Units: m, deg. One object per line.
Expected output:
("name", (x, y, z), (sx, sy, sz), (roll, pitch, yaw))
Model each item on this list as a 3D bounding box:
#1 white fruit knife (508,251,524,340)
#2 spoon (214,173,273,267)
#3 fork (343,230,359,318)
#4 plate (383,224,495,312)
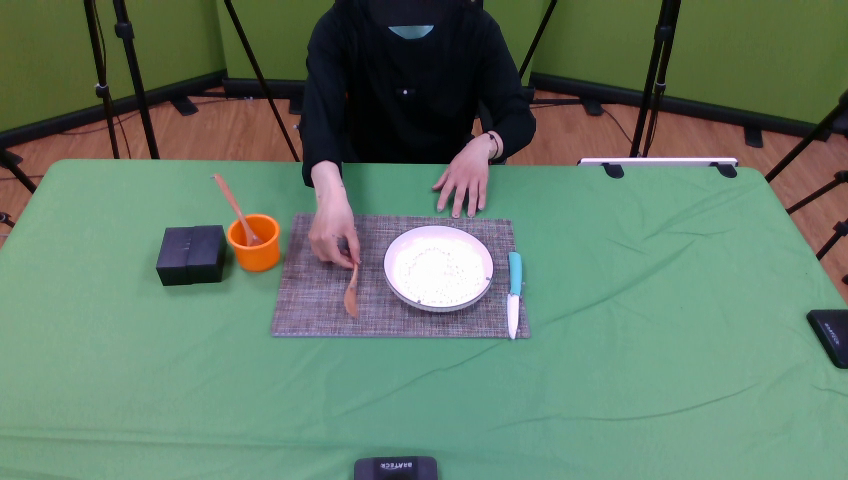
("white fruit knife", (0.169, 0.098, 1.113), (0.027, 0.016, 0.206), (-13, 43, 23))
("spoon", (-0.336, -0.037, 1.121), (0.041, 0.194, 0.021), (-29, 10, -24))
("fork", (-0.131, 0.057, 1.118), (0.018, 0.028, 0.206), (-29, 41, 29))
("plate", (0.026, 0.055, 1.128), (0.209, 0.038, 0.208), (2, 46, -2))
